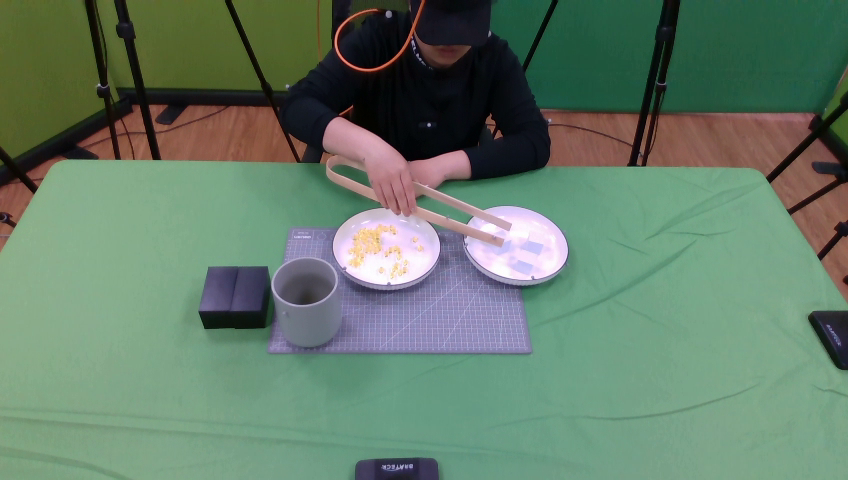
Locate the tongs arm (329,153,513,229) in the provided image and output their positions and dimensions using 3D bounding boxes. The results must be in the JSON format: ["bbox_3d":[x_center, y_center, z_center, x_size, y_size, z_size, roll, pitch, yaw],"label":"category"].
[{"bbox_3d":[-0.009,-0.097,1.197,0.387,0.028,0.028,22,56,7],"label":"tongs arm"}]

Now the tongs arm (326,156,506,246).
[{"bbox_3d":[-0.021,-0.076,1.178,0.384,0.026,0.050,20,52,6],"label":"tongs arm"}]

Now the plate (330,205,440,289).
[{"bbox_3d":[-0.074,0.017,1.160,0.208,0.039,0.206,2,46,-2],"label":"plate"}]

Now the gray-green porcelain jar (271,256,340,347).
[{"bbox_3d":[-0.193,0.107,1.004,0.106,0.127,0.105,2,46,-2],"label":"gray-green porcelain jar"}]

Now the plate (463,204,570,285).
[{"bbox_3d":[0.178,0.012,1.184,0.209,0.038,0.208,3,46,-3],"label":"plate"}]
